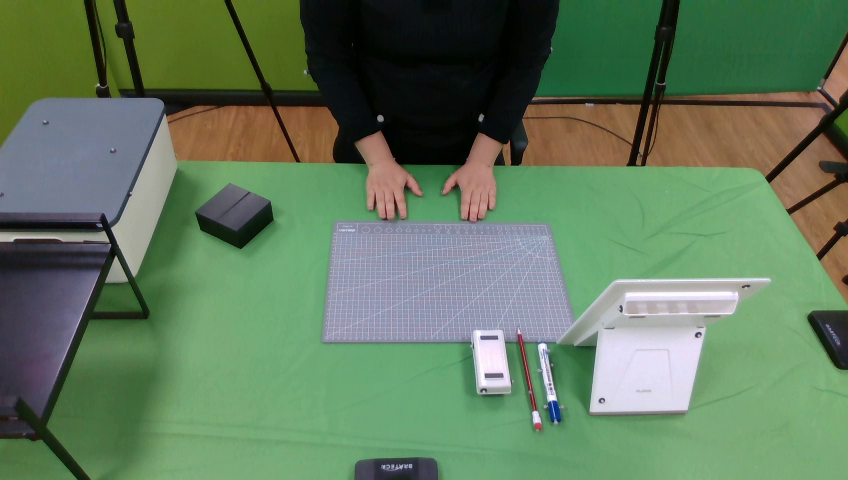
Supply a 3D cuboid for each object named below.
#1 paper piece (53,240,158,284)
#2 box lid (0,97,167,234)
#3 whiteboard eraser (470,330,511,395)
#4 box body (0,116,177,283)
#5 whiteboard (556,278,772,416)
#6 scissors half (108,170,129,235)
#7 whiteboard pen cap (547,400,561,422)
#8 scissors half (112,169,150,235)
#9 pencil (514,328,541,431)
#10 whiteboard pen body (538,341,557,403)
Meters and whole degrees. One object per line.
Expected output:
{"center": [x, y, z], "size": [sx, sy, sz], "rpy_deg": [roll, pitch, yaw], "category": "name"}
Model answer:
{"center": [-0.593, 0.037, 1.134], "size": [0.136, 0.009, 0.137], "rpy_deg": [3, 32, 8], "category": "paper piece"}
{"center": [-0.636, -0.146, 1.086], "size": [0.263, 0.015, 0.369], "rpy_deg": [0, 46, -4], "category": "box lid"}
{"center": [0.109, 0.202, 0.998], "size": [0.055, 0.042, 0.112], "rpy_deg": [1, 46, -5], "category": "whiteboard eraser"}
{"center": [-0.640, -0.095, 1.141], "size": [0.254, 0.161, 0.361], "rpy_deg": [0, 46, -4], "category": "box body"}
{"center": [0.347, 0.174, 0.903], "size": [0.217, 0.306, 0.143], "rpy_deg": [1, 65, -4], "category": "whiteboard"}
{"center": [-0.617, -0.077, 1.223], "size": [0.040, 0.013, 0.174], "rpy_deg": [-14, 54, -8], "category": "scissors half"}
{"center": [0.205, 0.269, 0.956], "size": [0.018, 0.018, 0.033], "rpy_deg": [0, 48, -5], "category": "whiteboard pen cap"}
{"center": [-0.596, -0.078, 1.225], "size": [0.040, 0.013, 0.174], "rpy_deg": [7, 53, 1], "category": "scissors half"}
{"center": [0.168, 0.224, 1.003], "size": [0.012, 0.012, 0.192], "rpy_deg": [-2, 46, -6], "category": "pencil"}
{"center": [0.205, 0.228, 0.997], "size": [0.017, 0.017, 0.140], "rpy_deg": [1, 46, -3], "category": "whiteboard pen body"}
